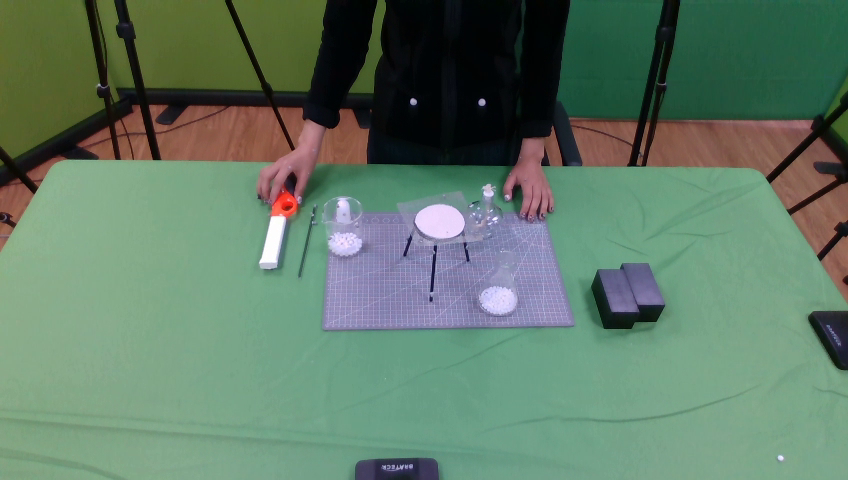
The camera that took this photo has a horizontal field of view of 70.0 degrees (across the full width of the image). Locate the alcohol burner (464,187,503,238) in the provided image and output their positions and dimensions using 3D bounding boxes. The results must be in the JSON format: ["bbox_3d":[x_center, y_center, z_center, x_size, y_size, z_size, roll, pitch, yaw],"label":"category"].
[{"bbox_3d":[0.120,-0.061,1.201,0.078,0.119,0.077,3,47,-3],"label":"alcohol burner"}]

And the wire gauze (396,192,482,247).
[{"bbox_3d":[0.025,-0.036,1.061,0.125,0.011,0.120,-9,47,-14],"label":"wire gauze"}]

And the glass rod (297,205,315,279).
[{"bbox_3d":[-0.231,0.000,1.191,0.008,0.008,0.198,2,46,-1],"label":"glass rod"}]

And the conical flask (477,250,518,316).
[{"bbox_3d":[0.136,0.072,1.067,0.075,0.122,0.075,2,46,-2],"label":"conical flask"}]

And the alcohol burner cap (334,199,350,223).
[{"bbox_3d":[-0.167,-0.061,1.227,0.034,0.048,0.033,2,46,-2],"label":"alcohol burner cap"}]

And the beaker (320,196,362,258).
[{"bbox_3d":[-0.156,-0.021,1.150,0.084,0.101,0.073,-30,54,-28],"label":"beaker"}]

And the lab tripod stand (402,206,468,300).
[{"bbox_3d":[0.023,0.013,1.108,0.148,0.132,0.147,3,44,-2],"label":"lab tripod stand"}]

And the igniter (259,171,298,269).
[{"bbox_3d":[-0.292,-0.050,1.221,0.057,0.025,0.275,1,45,-1],"label":"igniter"}]
